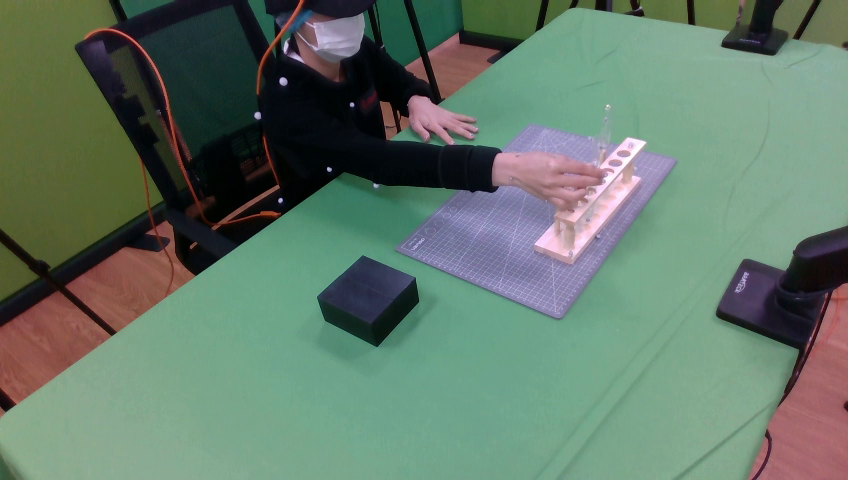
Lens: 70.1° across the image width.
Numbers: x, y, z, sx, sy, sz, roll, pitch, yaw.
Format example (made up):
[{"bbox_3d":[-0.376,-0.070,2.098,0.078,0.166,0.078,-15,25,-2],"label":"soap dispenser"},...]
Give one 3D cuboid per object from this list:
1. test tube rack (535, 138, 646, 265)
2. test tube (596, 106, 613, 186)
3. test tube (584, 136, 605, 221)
[{"bbox_3d":[0.268,-0.071,0.964,0.066,0.085,0.243,23,49,32],"label":"test tube rack"},{"bbox_3d":[0.294,-0.150,0.984,0.017,0.151,0.017,-5,40,4],"label":"test tube"},{"bbox_3d":[0.250,-0.087,0.887,0.017,0.151,0.017,-4,43,4],"label":"test tube"}]
